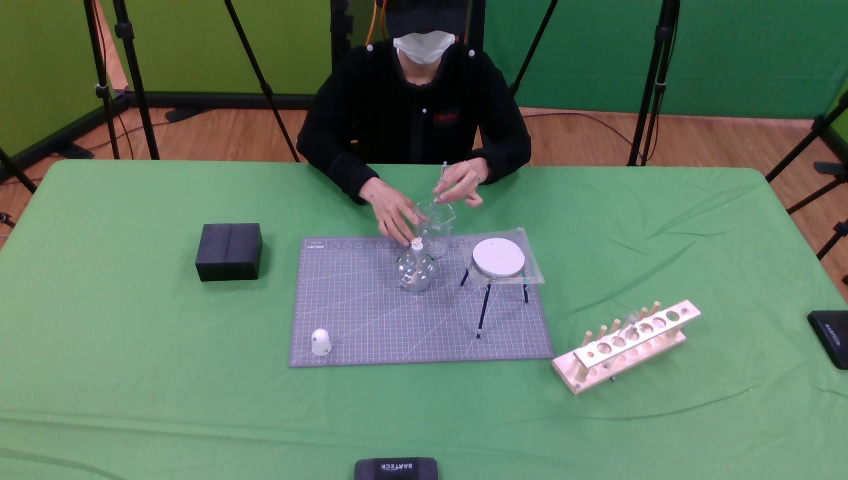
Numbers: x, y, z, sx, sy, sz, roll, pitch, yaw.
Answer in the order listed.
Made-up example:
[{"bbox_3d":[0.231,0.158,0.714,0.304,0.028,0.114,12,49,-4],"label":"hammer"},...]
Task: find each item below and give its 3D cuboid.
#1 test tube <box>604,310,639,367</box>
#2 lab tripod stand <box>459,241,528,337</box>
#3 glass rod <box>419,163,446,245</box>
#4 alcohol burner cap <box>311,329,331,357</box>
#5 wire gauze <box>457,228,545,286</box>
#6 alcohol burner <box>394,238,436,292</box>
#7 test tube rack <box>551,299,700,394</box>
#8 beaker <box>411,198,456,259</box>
[{"bbox_3d":[0.310,0.158,0.957,0.017,0.151,0.017,1,49,-1],"label":"test tube"},{"bbox_3d":[0.122,0.075,1.054,0.148,0.132,0.147,3,44,-3],"label":"lab tripod stand"},{"bbox_3d":[0.015,-0.061,1.111,0.008,0.200,0.008,9,44,-8],"label":"glass rod"},{"bbox_3d":[-0.173,0.168,1.005,0.034,0.048,0.033,2,46,-2],"label":"alcohol burner cap"},{"bbox_3d":[0.126,0.029,1.006,0.125,0.011,0.120,-4,46,-10],"label":"wire gauze"},{"bbox_3d":[-0.016,0.038,1.093,0.078,0.119,0.077,2,48,-2],"label":"alcohol burner"},{"bbox_3d":[0.339,0.166,1.021,0.242,0.085,0.066,-19,50,-21],"label":"test tube rack"},{"bbox_3d":[0.016,-0.019,1.161,0.084,0.101,0.073,6,46,1],"label":"beaker"}]
